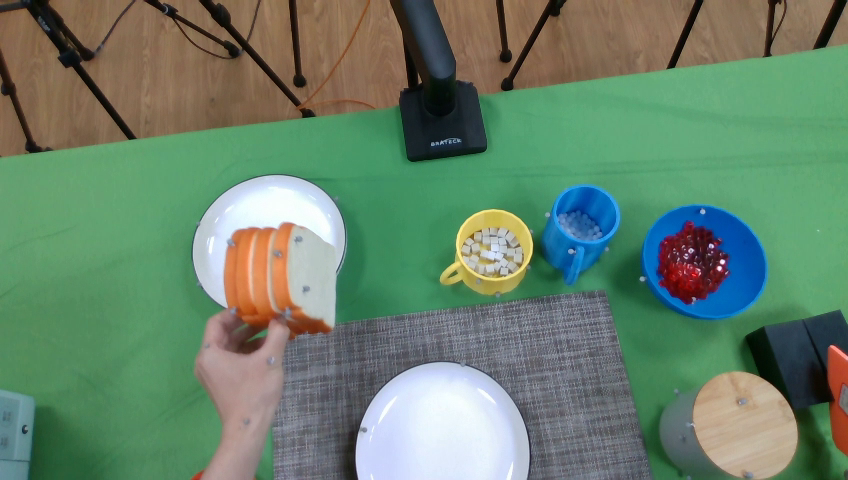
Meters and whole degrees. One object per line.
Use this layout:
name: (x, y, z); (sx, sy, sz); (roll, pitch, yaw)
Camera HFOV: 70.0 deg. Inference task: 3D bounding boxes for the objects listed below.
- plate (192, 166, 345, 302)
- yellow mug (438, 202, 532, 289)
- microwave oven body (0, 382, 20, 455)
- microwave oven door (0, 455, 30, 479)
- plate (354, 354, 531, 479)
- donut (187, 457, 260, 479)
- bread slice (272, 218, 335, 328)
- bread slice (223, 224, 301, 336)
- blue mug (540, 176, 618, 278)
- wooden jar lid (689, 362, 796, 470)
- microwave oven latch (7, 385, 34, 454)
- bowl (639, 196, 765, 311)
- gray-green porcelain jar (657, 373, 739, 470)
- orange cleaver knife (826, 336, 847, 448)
plate: (-0.209, -0.001, 0.829); (0.207, 0.039, 0.206); (0, 69, 2)
yellow mug: (0.076, 0.016, 0.799); (0.131, 0.064, 0.099); (-29, 70, -7)
microwave oven body: (-0.624, 0.365, 0.579); (0.326, 0.262, 0.438); (-7, 70, -1)
microwave oven door: (-0.474, 0.384, 0.563); (0.039, 0.245, 0.353); (-8, 69, -1)
plate: (0.022, 0.243, 0.726); (0.209, 0.038, 0.207); (-1, 69, 2)
donut: (-0.237, 0.306, 0.711); (0.099, 0.048, 0.098); (0, 69, -1)
bread slice: (-0.127, 0.035, 0.660); (0.019, 0.132, 0.104); (-6, 72, 13)
bread slice: (-0.174, 0.039, 0.675); (0.018, 0.135, 0.106); (-7, 67, 19)
blue mug: (0.195, -0.008, 0.784); (0.082, 0.106, 0.116); (11, 70, 6)
wooden jar lid: (0.328, 0.182, 0.630); (0.108, 0.021, 0.107); (0, 70, 0)
microwave oven latch: (-0.496, 0.217, 0.734); (0.030, 0.030, 0.078); (-5, 70, 0)
bowl: (0.345, 0.027, 0.781); (0.151, 0.077, 0.150); (-1, 70, 2)
gray-green porcelain jar: (0.331, 0.205, 0.688); (0.106, 0.127, 0.105); (0, 69, 1)
orange cleaver knife: (0.489, 0.216, 0.694); (0.012, 0.077, 0.212); (-10, 97, 2)
